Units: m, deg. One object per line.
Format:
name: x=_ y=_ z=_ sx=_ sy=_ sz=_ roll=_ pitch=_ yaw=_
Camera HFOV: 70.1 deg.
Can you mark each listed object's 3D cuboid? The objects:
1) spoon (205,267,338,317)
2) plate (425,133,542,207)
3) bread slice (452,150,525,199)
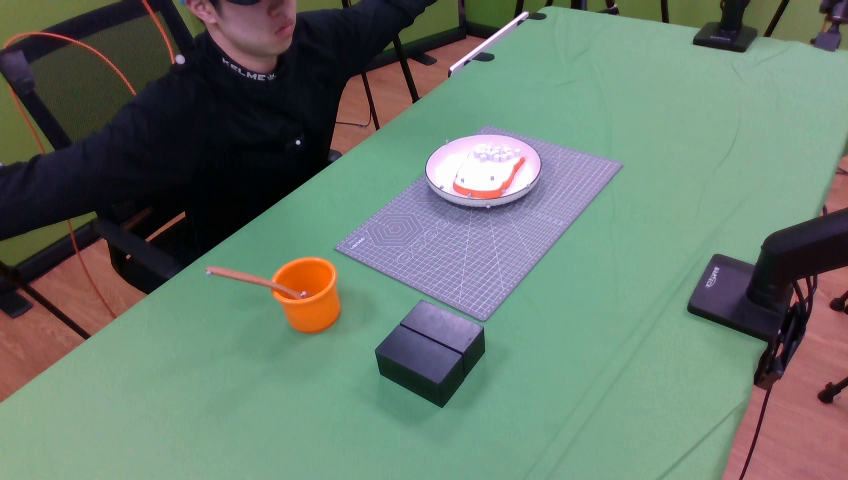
spoon: x=-0.202 y=0.067 z=0.822 sx=0.021 sy=0.195 sz=0.041 roll=-45 pitch=38 yaw=25
plate: x=0.106 y=-0.121 z=1.079 sx=0.209 sy=0.038 sz=0.208 roll=-4 pitch=41 yaw=4
bread slice: x=0.112 y=-0.118 z=1.079 sx=0.104 sy=0.019 sz=0.131 roll=12 pitch=42 yaw=21
